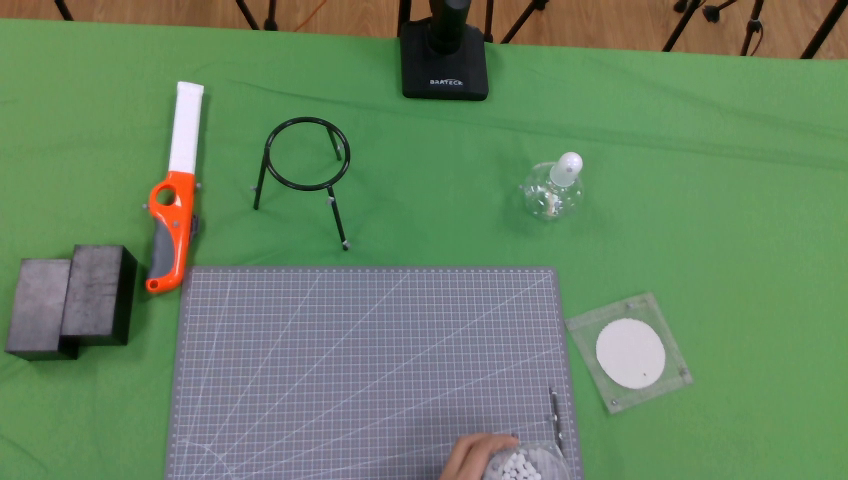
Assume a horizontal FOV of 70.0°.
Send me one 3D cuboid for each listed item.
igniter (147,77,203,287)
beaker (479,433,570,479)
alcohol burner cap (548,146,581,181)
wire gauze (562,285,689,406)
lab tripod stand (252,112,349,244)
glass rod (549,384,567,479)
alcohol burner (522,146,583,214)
[{"bbox_3d":[-0.296,-0.075,0.730,0.057,0.025,0.274,7,68,-22],"label":"igniter"},{"bbox_3d":[0.100,0.242,0.628,0.074,0.101,0.083,30,67,4],"label":"beaker"},{"bbox_3d":[0.170,-0.093,0.720,0.034,0.048,0.033,2,74,-5],"label":"alcohol burner cap"},{"bbox_3d":[0.249,0.127,0.745,0.125,0.011,0.120,-17,73,-12],"label":"wire gauze"},{"bbox_3d":[-0.132,-0.078,0.699,0.148,0.132,0.147,3,67,-6],"label":"lab tripod stand"},{"bbox_3d":[0.155,0.262,0.676,0.008,0.008,0.198,0,69,-9],"label":"glass rod"},{"bbox_3d":[0.165,-0.080,0.754,0.078,0.119,0.077,3,67,-7],"label":"alcohol burner"}]
